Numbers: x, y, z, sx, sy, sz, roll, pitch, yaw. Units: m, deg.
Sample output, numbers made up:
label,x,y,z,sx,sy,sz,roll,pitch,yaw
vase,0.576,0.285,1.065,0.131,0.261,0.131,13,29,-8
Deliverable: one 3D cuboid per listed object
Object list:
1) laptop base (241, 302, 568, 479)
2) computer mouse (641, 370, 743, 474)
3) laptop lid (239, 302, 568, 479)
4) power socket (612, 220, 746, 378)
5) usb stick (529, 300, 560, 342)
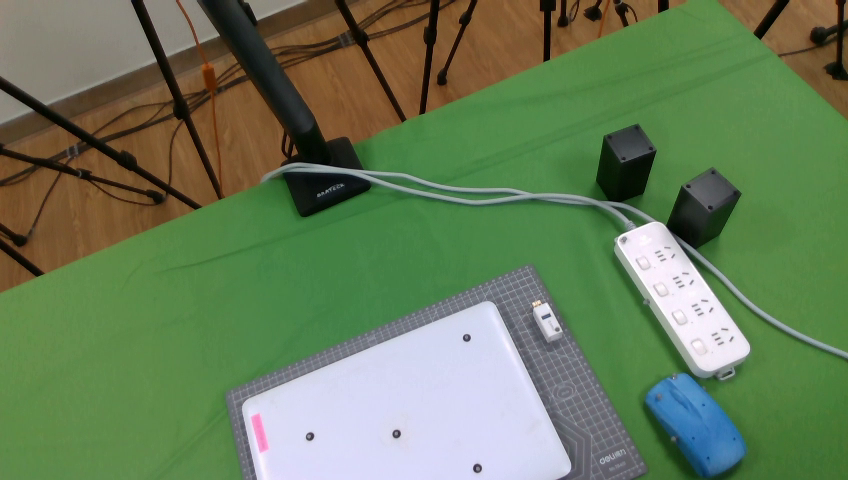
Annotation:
label,x,y,z,sx,sy,sz,roll,pitch,yaw
laptop base,-0.033,0.239,0.743,0.354,0.023,0.233,-22,63,-4
computer mouse,0.307,0.206,0.699,0.063,0.041,0.116,-28,55,-5
laptop lid,-0.034,0.235,0.732,0.357,0.013,0.239,-21,62,-3
power socket,0.321,0.070,0.778,0.072,0.033,0.224,-22,59,-3
usb stick,0.154,0.101,0.787,0.021,0.027,0.058,-24,57,-2
